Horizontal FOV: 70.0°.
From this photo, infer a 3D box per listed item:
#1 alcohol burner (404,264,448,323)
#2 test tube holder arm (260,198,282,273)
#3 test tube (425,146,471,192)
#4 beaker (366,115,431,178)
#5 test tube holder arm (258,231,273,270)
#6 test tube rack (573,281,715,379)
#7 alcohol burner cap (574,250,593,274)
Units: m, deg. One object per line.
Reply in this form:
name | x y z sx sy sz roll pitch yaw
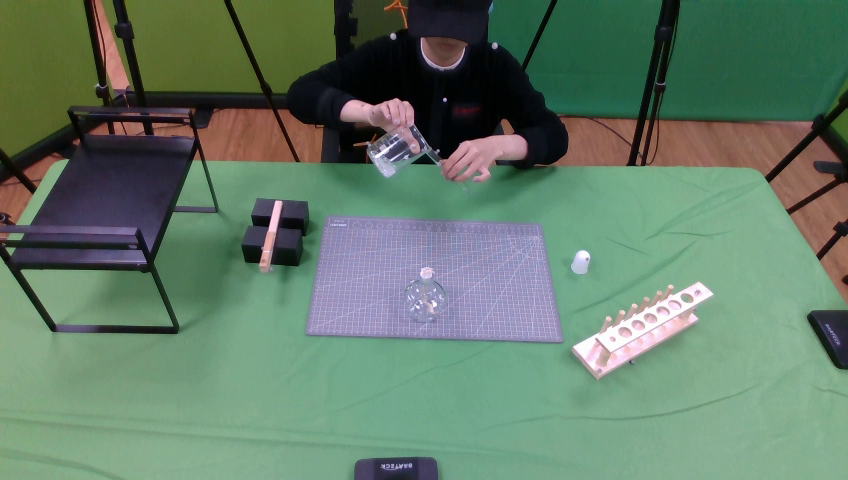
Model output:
alcohol burner | 0.003 0.087 1.042 0.078 0.120 0.077 1 45 0
test tube holder arm | -0.282 -0.012 1.120 0.015 0.013 0.177 -3 48 3
test tube | 0.049 -0.135 1.175 0.017 0.151 0.017 -20 52 28
beaker | -0.046 -0.165 1.100 0.100 0.084 0.073 -34 46 5
test tube holder arm | -0.282 0.017 1.086 0.015 0.010 0.087 -3 47 3
test tube rack | 0.378 0.140 1.038 0.242 0.085 0.066 -22 51 -23
alcohol burner cap | 0.308 0.039 1.163 0.034 0.048 0.033 1 46 -1
